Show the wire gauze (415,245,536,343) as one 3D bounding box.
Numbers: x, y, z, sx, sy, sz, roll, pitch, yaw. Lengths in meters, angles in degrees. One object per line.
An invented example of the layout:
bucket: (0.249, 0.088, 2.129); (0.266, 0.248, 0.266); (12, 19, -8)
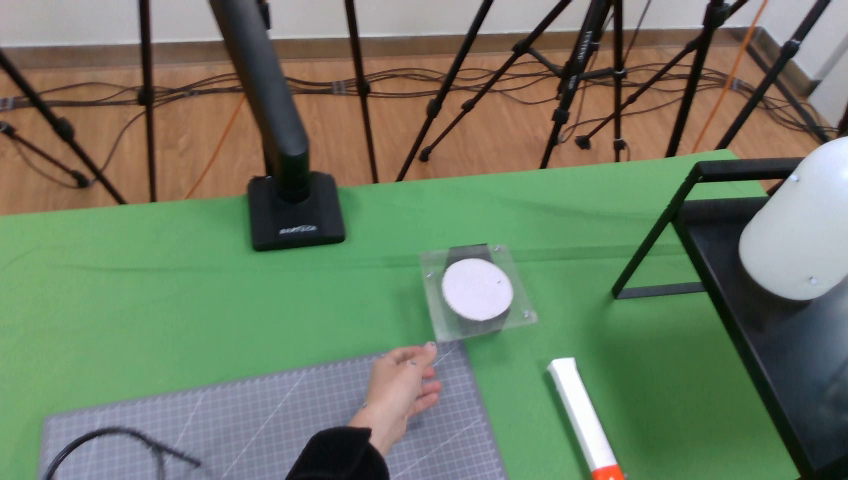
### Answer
wire gauze: (0.059, 0.058, 0.721); (0.122, 0.011, 0.123); (-6, 55, -14)

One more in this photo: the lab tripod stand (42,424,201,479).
lab tripod stand: (-0.252, 0.227, 0.516); (0.149, 0.132, 0.147); (6, 52, -7)

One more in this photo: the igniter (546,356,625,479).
igniter: (0.194, 0.251, 0.645); (0.057, 0.025, 0.273); (-1, 53, -23)

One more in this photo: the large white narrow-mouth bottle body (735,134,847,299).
large white narrow-mouth bottle body: (0.382, -0.034, 0.561); (0.102, 0.196, 0.101); (5, 52, -6)
